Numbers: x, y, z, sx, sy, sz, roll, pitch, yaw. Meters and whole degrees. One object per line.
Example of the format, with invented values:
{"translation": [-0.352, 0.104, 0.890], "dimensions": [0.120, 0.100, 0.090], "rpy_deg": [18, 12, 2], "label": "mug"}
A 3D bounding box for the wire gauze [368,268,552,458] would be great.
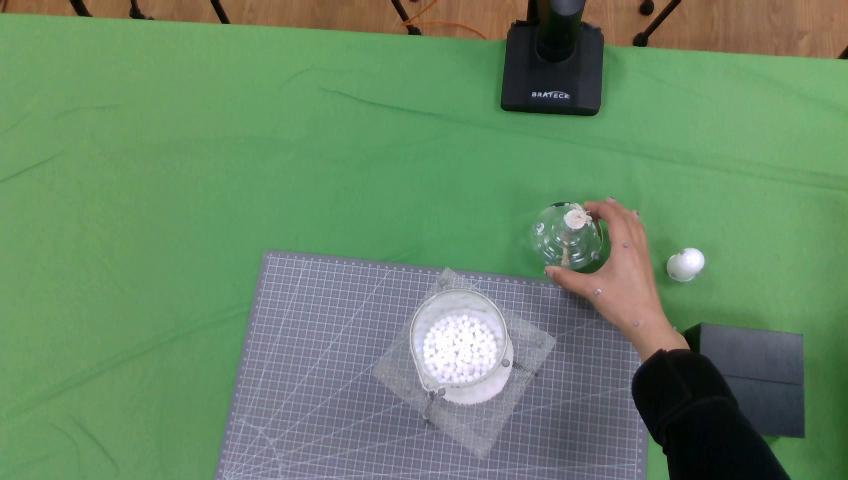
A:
{"translation": [0.032, 0.106, 0.539], "dimensions": [0.124, 0.011, 0.121], "rpy_deg": [35, 80, 10], "label": "wire gauze"}

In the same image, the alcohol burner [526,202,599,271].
{"translation": [0.149, -0.009, 0.643], "dimensions": [0.078, 0.120, 0.077], "rpy_deg": [-1, 73, 5], "label": "alcohol burner"}

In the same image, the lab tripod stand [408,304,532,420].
{"translation": [0.040, 0.119, 0.603], "dimensions": [0.148, 0.132, 0.147], "rpy_deg": [-1, 72, 3], "label": "lab tripod stand"}

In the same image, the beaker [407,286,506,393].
{"translation": [0.025, 0.089, 0.494], "dimensions": [0.073, 0.101, 0.084], "rpy_deg": [31, 77, 12], "label": "beaker"}

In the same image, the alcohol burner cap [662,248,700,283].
{"translation": [0.283, 0.026, 0.663], "dimensions": [0.034, 0.048, 0.033], "rpy_deg": [-1, 73, 5], "label": "alcohol burner cap"}
